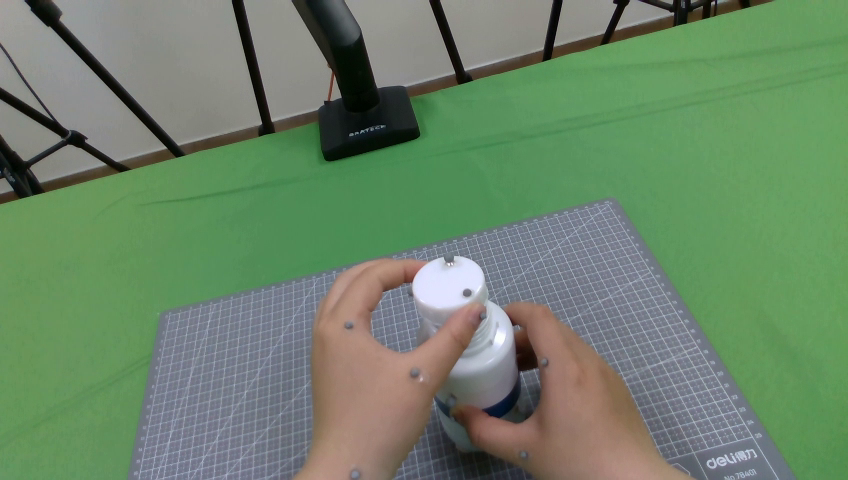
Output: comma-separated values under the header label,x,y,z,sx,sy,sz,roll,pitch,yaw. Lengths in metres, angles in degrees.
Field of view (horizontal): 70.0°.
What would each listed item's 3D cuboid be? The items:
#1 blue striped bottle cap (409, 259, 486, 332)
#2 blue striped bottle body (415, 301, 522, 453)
label,x,y,z,sx,sy,sz,roll,pitch,yaw
blue striped bottle cap,0.014,0.032,0.359,0.044,0.021,0.044,-5,39,5
blue striped bottle body,0.031,0.085,0.403,0.063,0.122,0.062,-7,43,7
